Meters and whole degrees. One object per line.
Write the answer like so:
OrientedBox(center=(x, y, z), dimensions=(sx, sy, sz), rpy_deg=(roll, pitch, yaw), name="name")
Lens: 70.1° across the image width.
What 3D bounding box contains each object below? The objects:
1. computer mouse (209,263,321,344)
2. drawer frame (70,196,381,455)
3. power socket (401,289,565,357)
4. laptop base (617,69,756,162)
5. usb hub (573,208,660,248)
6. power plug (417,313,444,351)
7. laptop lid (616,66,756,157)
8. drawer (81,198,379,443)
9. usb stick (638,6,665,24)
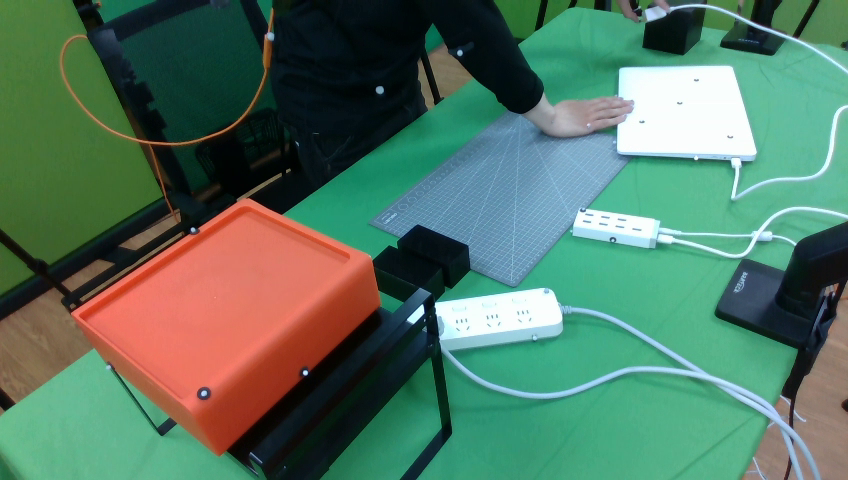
OrientedBox(center=(-0.165, 0.062, 0.624), dimensions=(0.116, 0.041, 0.063), rpy_deg=(22, 44, 27), name="computer mouse")
OrientedBox(center=(-0.186, 0.068, 0.597), dimensions=(0.200, 0.083, 0.214), rpy_deg=(23, 49, 30), name="drawer frame")
OrientedBox(center=(0.080, 0.112, 0.822), dimensions=(0.227, 0.033, 0.072), rpy_deg=(-7, 41, -1), name="power socket")
OrientedBox(center=(0.507, -0.255, 1.205), dimensions=(0.235, 0.023, 0.353), rpy_deg=(3, 41, 15), name="laptop base")
OrientedBox(center=(0.302, -0.019, 0.950), dimensions=(0.124, 0.025, 0.049), rpy_deg=(11, 43, 20), name="usb hub")
OrientedBox(center=(0.007, 0.127, 0.786), dimensions=(0.035, 0.053, 0.072), rpy_deg=(0, 43, 8), name="power plug")
OrientedBox(center=(0.503, -0.265, 1.196), dimensions=(0.241, 0.013, 0.356), rpy_deg=(5, 41, 16), name="laptop lid")
OrientedBox(center=(-0.186, 0.065, 0.600), dimensions=(0.193, 0.073, 0.212), rpy_deg=(24, 49, 31), name="drawer")
OrientedBox(center=(0.505, -0.500, 1.349), dimensions=(0.059, 0.027, 0.021), rpy_deg=(-19, 7, 5), name="usb stick")
